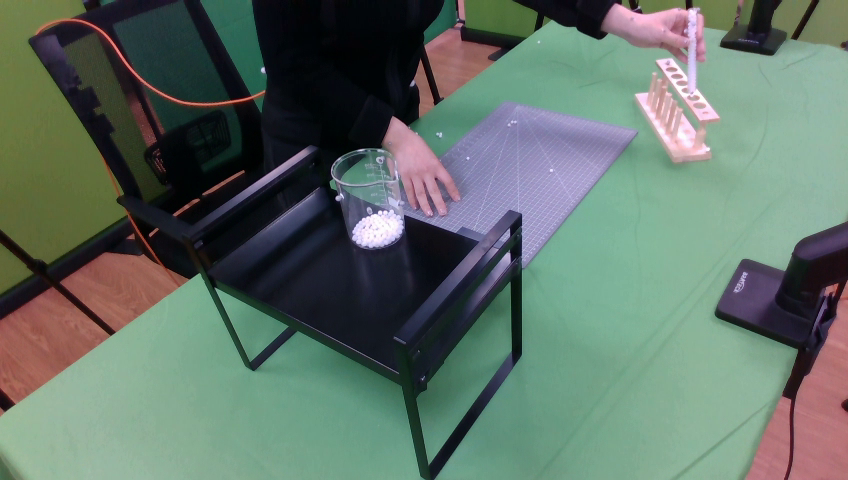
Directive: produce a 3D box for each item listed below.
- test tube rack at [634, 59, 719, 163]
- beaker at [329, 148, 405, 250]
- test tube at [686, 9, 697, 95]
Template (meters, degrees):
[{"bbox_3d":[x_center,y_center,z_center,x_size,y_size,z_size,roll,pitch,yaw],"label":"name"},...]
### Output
[{"bbox_3d":[0.471,-0.250,1.148,0.067,0.085,0.241,-6,40,3],"label":"test tube rack"},{"bbox_3d":[-0.059,-0.045,0.699,0.083,0.101,0.074,19,47,27],"label":"beaker"},{"bbox_3d":[0.461,-0.321,1.041,0.017,0.151,0.017,-11,36,9],"label":"test tube"}]
